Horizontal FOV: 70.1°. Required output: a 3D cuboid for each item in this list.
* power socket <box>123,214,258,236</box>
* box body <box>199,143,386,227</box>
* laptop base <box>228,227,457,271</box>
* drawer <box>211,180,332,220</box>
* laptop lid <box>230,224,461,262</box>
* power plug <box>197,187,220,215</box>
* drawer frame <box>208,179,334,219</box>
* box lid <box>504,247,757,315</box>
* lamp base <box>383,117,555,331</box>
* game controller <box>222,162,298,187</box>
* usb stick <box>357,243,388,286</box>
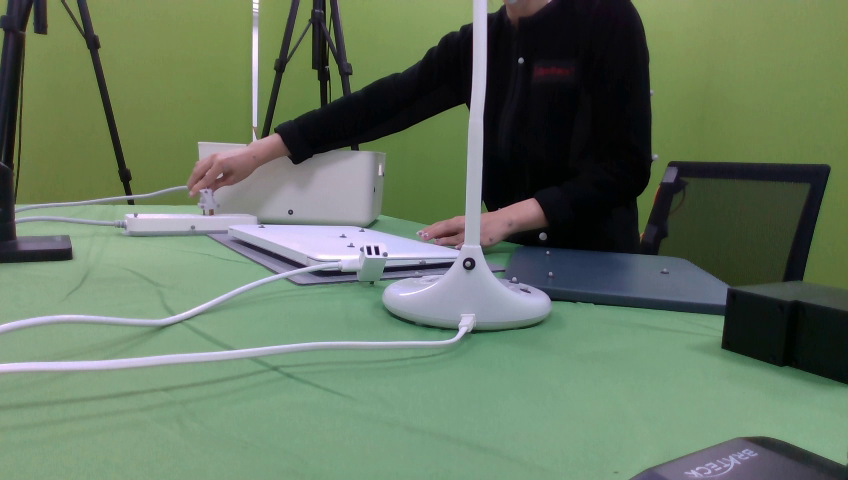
[{"bbox_3d":[-0.398,-0.028,1.049,0.228,0.032,0.072,-3,8,-34],"label":"power socket"},{"bbox_3d":[-0.276,-0.124,1.335,0.364,0.160,0.254,3,7,1],"label":"box body"},{"bbox_3d":[-0.122,0.011,0.889,0.237,0.023,0.352,2,6,-35],"label":"laptop base"},{"bbox_3d":[-0.328,-0.094,1.332,0.212,0.073,0.194,5,8,6],"label":"drawer"},{"bbox_3d":[-0.119,0.000,0.889,0.243,0.013,0.355,1,7,-33],"label":"laptop lid"},{"bbox_3d":[-0.386,-0.067,1.085,0.035,0.052,0.072,-4,15,-21],"label":"power plug"},{"bbox_3d":[-0.326,-0.093,1.328,0.213,0.082,0.202,-1,5,6],"label":"drawer frame"},{"bbox_3d":[0.244,0.044,0.793,0.263,0.015,0.372,4,7,10],"label":"box lid"},{"bbox_3d":[0.045,-0.019,0.547,0.161,0.180,0.179,2,10,-4],"label":"lamp base"},{"bbox_3d":[-0.357,-0.143,1.322,0.156,0.051,0.097,1,2,-17],"label":"game controller"},{"bbox_3d":[-0.057,0.029,0.658,0.027,0.059,0.021,-4,53,-18],"label":"usb stick"}]
